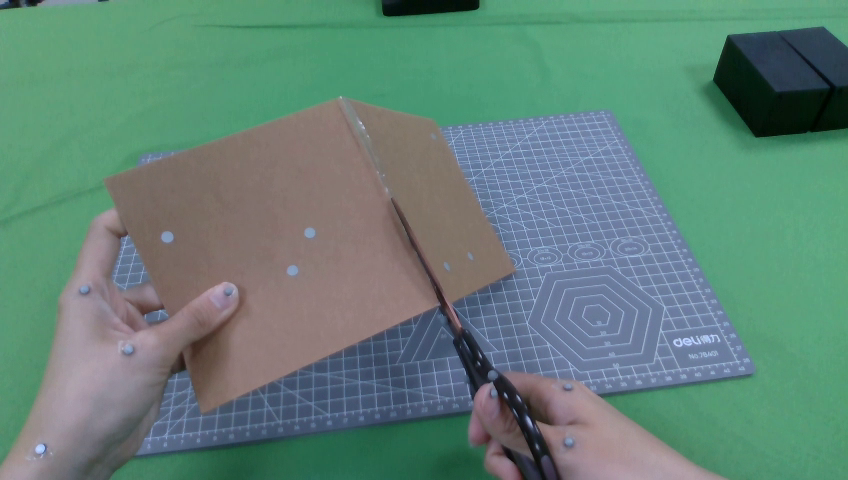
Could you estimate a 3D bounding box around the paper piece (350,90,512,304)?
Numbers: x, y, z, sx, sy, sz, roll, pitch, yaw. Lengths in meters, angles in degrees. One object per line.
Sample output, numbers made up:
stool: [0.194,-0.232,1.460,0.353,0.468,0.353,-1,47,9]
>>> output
paper piece: [0.011,-0.030,0.406,0.008,0.138,0.135,-24,85,24]

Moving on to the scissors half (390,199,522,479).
scissors half: [0.018,0.056,0.342,0.013,0.040,0.175,-25,90,-12]

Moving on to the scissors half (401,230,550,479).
scissors half: [0.018,0.049,0.320,0.013,0.040,0.173,-26,61,-7]

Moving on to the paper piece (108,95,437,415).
paper piece: [-0.078,0.004,0.331,0.136,0.004,0.135,-23,92,-15]
